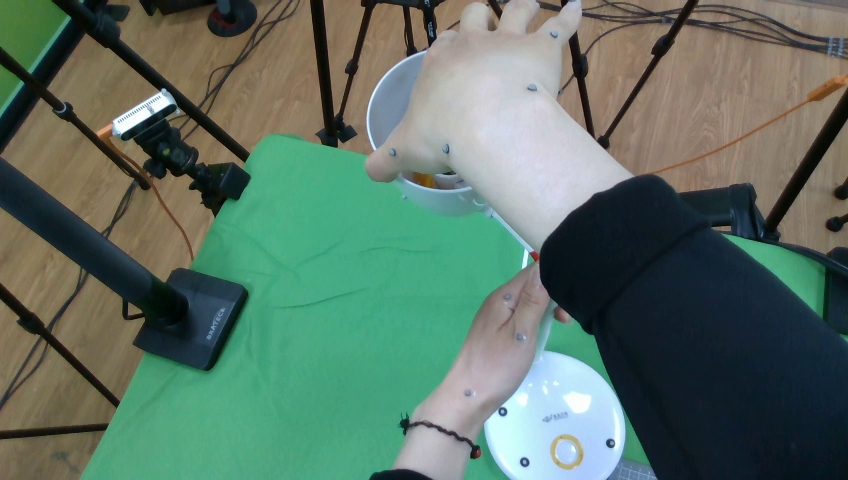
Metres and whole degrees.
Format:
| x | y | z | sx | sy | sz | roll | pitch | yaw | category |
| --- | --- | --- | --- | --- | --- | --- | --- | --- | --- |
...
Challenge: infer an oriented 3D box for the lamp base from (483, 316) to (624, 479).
| x | y | z | sx | sy | sz | roll | pitch | yaw | category |
| --- | --- | --- | --- | --- | --- | --- | --- | --- | --- |
| 0.135 | 0.162 | 0.639 | 0.161 | 0.182 | 0.177 | -23 | 61 | -5 | lamp base |

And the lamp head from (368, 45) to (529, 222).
| x | y | z | sx | sy | sz | roll | pitch | yaw | category |
| --- | --- | --- | --- | --- | --- | --- | --- | --- | --- |
| 0.025 | -0.065 | 0.462 | 0.112 | 0.124 | 0.111 | -3 | 68 | 9 | lamp head |
